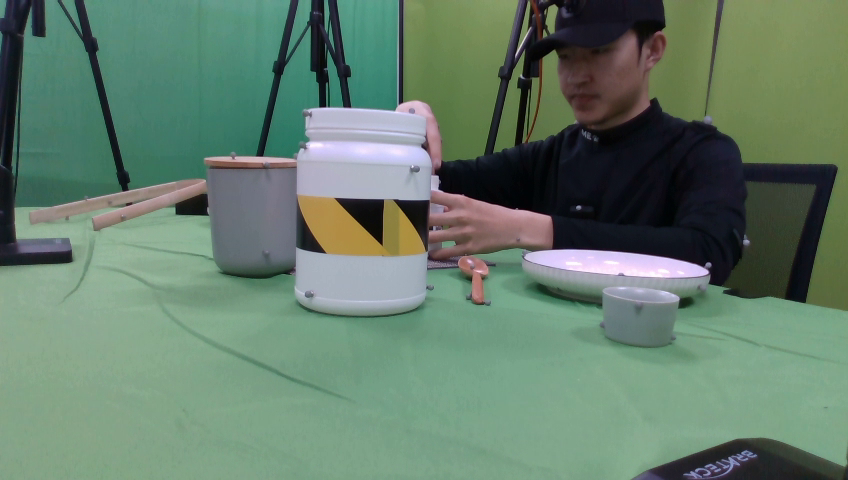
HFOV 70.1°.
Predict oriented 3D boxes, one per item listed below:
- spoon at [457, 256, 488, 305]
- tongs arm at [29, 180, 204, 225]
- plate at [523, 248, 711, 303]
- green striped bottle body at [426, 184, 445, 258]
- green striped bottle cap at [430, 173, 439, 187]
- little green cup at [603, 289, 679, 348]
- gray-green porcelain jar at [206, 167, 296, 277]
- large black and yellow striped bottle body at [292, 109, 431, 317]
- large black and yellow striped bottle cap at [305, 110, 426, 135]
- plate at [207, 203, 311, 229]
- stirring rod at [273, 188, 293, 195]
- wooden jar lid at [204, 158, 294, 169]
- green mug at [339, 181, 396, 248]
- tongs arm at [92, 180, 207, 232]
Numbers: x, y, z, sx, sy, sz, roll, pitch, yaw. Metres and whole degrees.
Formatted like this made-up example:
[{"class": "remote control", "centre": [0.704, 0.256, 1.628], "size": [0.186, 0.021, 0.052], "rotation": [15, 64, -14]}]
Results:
[{"class": "spoon", "centre": [0.058, 0.044, 0.696], "size": [0.041, 0.021, 0.193], "rotation": [21, 7, 0]}, {"class": "tongs arm", "centre": [-0.609, -0.083, 1.245], "size": [0.050, 0.026, 0.386], "rotation": [5, 16, 23]}, {"class": "plate", "centre": [0.219, 0.042, 0.706], "size": [0.209, 0.038, 0.209], "rotation": [2, 7, 0]}, {"class": "green striped bottle body", "centre": [-0.002, -0.036, 0.902], "size": [0.063, 0.119, 0.063], "rotation": [3, 7, 0]}, {"class": "green striped bottle cap", "centre": [0.001, -0.087, 0.898], "size": [0.044, 0.020, 0.044], "rotation": [0, 16, 0]}, {"class": "little green cup", "centre": [0.179, 0.065, 0.505], "size": [0.061, 0.038, 0.061], "rotation": [2, 6, 0]}, {"class": "gray-green porcelain jar", "centre": [-0.201, -0.024, 0.724], "size": [0.106, 0.126, 0.106], "rotation": [-1, 9, 1]}, {"class": "large black and yellow striped bottle body", "centre": [-0.060, -0.028, 0.584], "size": [0.131, 0.184, 0.130], "rotation": [3, 7, 0]}, {"class": "large black and yellow striped bottle cap", "centre": [-0.055, -0.110, 0.574], "size": [0.115, 0.019, 0.115], "rotation": [1, 7, 0]}, {"class": "plate", "centre": [-0.342, -0.050, 1.259], "size": [0.208, 0.039, 0.207], "rotation": [3, 7, 0]}, {"class": "stirring rod", "centre": [-0.353, -0.122, 1.519], "size": [0.006, 0.014, 0.176], "rotation": [1, 6, 1]}, {"class": "wooden jar lid", "centre": [-0.202, -0.086, 0.714], "size": [0.108, 0.020, 0.108], "rotation": [3, 11, 0]}, {"class": "green mug", "centre": [-0.097, -0.044, 0.994], "size": [0.093, 0.105, 0.125], "rotation": [-2, 7, -20]}, {"class": "tongs arm", "centre": [-0.534, -0.076, 1.221], "size": [0.028, 0.028, 0.388], "rotation": [-2, 15, 12]}]
